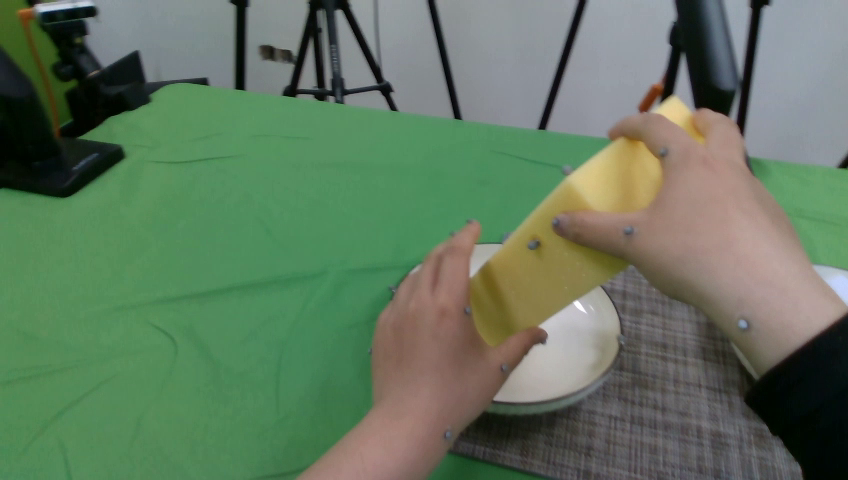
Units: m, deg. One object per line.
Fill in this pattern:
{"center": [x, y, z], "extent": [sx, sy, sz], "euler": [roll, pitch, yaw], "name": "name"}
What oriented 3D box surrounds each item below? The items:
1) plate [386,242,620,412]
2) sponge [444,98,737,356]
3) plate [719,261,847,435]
{"center": [0.070, 0.077, 0.553], "extent": [0.209, 0.038, 0.207], "euler": [1, 36, 0], "name": "plate"}
{"center": [0.107, 0.003, 0.443], "extent": [0.118, 0.207, 0.060], "euler": [-35, 80, -31], "name": "sponge"}
{"center": [0.367, 0.097, 0.533], "extent": [0.208, 0.039, 0.205], "euler": [1, 37, 0], "name": "plate"}
